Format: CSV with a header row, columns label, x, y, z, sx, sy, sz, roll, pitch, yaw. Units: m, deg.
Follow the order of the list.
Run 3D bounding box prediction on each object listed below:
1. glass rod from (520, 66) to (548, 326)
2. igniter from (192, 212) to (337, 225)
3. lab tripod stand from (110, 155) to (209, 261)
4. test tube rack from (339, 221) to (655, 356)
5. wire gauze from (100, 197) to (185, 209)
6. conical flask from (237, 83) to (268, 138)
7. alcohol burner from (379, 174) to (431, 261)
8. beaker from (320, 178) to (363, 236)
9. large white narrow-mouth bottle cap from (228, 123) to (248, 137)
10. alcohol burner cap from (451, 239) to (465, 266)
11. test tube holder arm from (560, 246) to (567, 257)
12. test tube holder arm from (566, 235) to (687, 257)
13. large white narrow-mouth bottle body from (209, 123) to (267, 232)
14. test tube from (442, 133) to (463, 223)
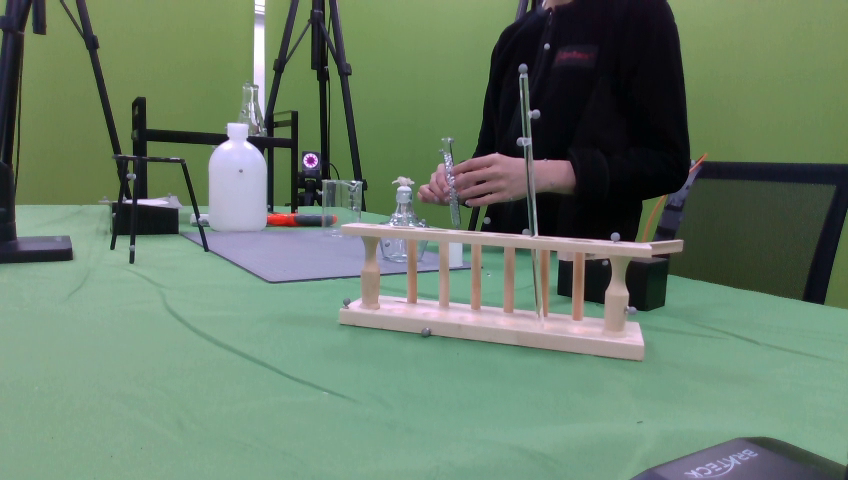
label,x,y,z,sx,sy,sz,roll,pitch,yaw
glass rod,0.084,-0.029,0.458,0.008,0.199,0.008,-7,11,2
igniter,-0.312,-0.042,1.203,0.278,0.025,0.057,-1,-5,-25
lab tripod stand,-0.361,-0.046,0.806,0.148,0.131,0.148,2,5,0
test tube rack,0.056,0.032,0.495,0.242,0.085,0.067,4,7,15
wire gauze,-0.469,-0.062,1.008,0.126,0.011,0.121,-2,8,-25
conical flask,-0.402,-0.299,1.406,0.075,0.122,0.075,2,7,0
alcohol burner,-0.027,-0.031,0.838,0.078,0.119,0.078,0,6,0
beaker,-0.145,-0.059,1.078,0.074,0.100,0.083,-4,10,-36
large white narrow-mouth bottle cap,-0.338,-0.199,1.097,0.038,0.024,0.037,2,8,0
alcohol burner cap,0.041,0.010,0.815,0.034,0.048,0.034,3,8,0
test tube holder arm,0.173,0.007,0.611,0.088,0.015,0.010,-3,8,-30
test tube holder arm,0.215,0.006,0.630,0.179,0.015,0.013,-3,9,-31
large white narrow-mouth bottle body,-0.340,-0.115,1.109,0.102,0.194,0.102,2,8,0
test tube,0.047,-0.099,0.983,0.017,0.150,0.017,-8,17,3
